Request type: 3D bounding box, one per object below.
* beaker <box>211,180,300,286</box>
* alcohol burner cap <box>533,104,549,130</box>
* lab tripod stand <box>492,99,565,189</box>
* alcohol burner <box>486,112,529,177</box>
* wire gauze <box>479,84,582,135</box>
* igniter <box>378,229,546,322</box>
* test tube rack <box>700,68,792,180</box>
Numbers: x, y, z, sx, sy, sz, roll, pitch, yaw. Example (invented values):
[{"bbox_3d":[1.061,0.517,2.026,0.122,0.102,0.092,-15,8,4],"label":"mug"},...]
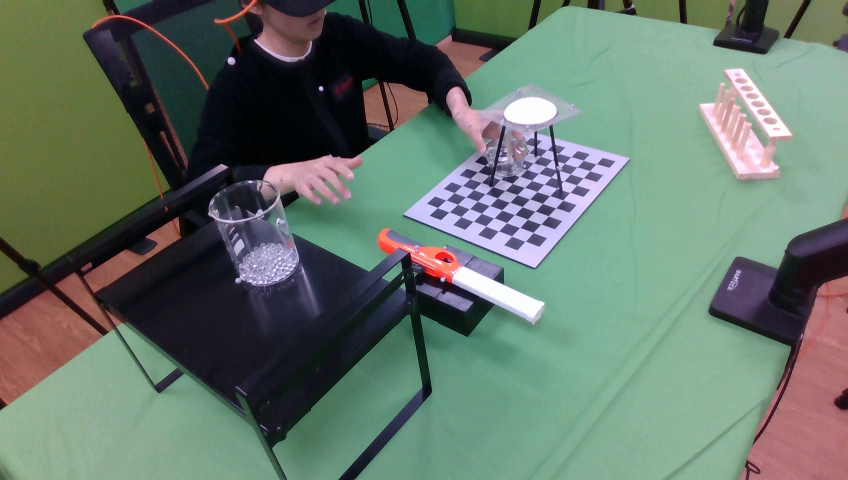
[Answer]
[{"bbox_3d":[-0.183,-0.007,0.674,0.074,0.101,0.083,-1,40,7],"label":"beaker"},{"bbox_3d":[0.235,-0.251,1.217,0.034,0.048,0.033,-5,41,5],"label":"alcohol burner cap"},{"bbox_3d":[0.184,-0.163,1.046,0.148,0.132,0.147,-5,43,5],"label":"lab tripod stand"},{"bbox_3d":[0.149,-0.174,1.078,0.078,0.119,0.077,-3,41,3],"label":"alcohol burner"},{"bbox_3d":[0.176,-0.216,1.006,0.125,0.011,0.120,-29,46,-22],"label":"wire gauze"},{"bbox_3d":[0.041,0.043,0.843,0.274,0.025,0.057,24,47,29],"label":"igniter"},{"bbox_3d":[0.571,-0.215,1.089,0.066,0.085,0.241,-3,41,7],"label":"test tube rack"}]
